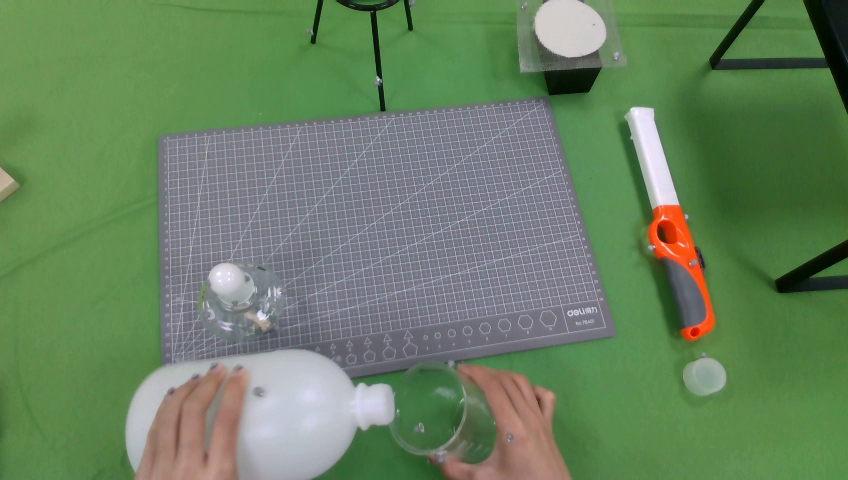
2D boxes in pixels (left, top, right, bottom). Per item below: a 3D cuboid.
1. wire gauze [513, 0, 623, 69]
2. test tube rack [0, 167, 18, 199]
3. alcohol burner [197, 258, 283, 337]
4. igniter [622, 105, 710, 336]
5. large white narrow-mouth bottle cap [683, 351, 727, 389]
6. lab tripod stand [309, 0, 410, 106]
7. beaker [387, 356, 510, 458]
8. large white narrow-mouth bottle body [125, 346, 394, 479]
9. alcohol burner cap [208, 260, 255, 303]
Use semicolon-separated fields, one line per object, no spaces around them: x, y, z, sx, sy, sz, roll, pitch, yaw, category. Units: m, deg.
0.165;-0.252;0.709;0.121;0.011;0.124;0;68;-5;wire gauze
-0.525;-0.011;0.565;0.066;0.085;0.242;39;70;11;test tube rack
-0.171;0.047;0.554;0.078;0.120;0.077;3;66;-5;alcohol burner
0.266;-0.029;0.671;0.057;0.025;0.274;0;68;-16;igniter
0.283;0.131;0.613;0.038;0.024;0.037;2;67;-4;large white narrow-mouth bottle cap
-0.063;-0.245;0.673;0.148;0.132;0.147;2;69;-6;lab tripod stand
0.023;0.149;0.526;0.084;0.101;0.073;-16;61;27;beaker
-0.120;0.136;0.473;0.194;0.102;0.101;-9;68;9;large white narrow-mouth bottle body
-0.168;0.035;0.520;0.034;0.048;0.033;1;73;-2;alcohol burner cap
